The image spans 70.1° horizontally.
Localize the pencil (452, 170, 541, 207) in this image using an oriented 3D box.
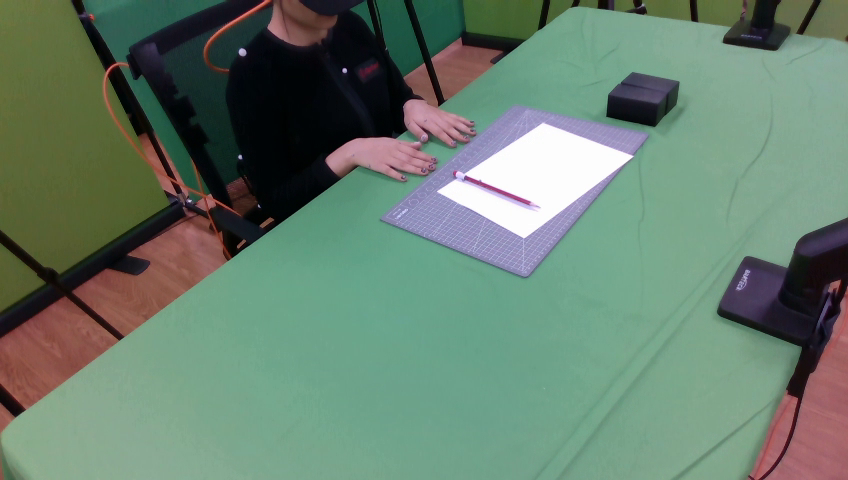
[{"bbox_3d":[0.125,-0.091,1.069,0.192,0.012,0.012,26,52,35],"label":"pencil"}]
